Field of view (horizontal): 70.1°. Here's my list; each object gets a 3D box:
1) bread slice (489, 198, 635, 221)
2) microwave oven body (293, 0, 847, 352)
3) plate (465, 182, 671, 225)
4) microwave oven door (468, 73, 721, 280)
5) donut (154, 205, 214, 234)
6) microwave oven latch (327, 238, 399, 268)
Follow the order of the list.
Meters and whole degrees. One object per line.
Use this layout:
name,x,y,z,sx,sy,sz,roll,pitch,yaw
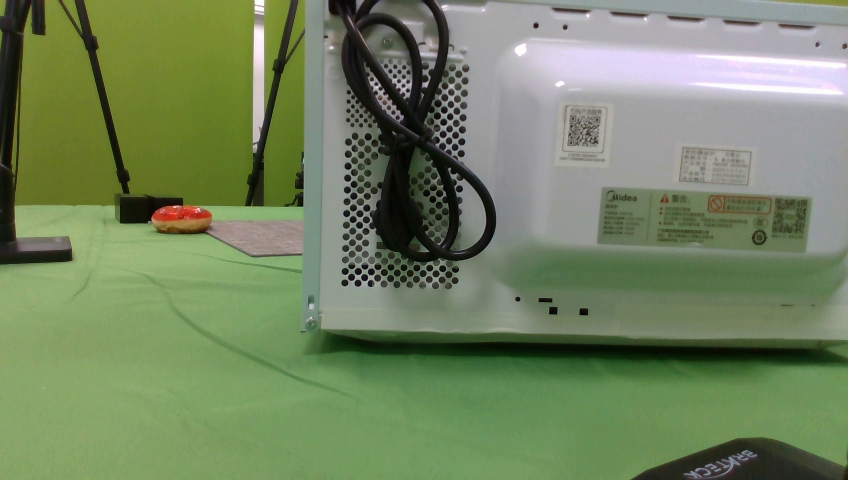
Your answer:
bread slice,0.150,-0.033,0.626,0.105,0.019,0.131,-5,9,-39
microwave oven body,0.122,-0.055,0.550,0.442,0.260,0.325,3,7,-5
plate,0.147,-0.035,0.634,0.208,0.039,0.207,-1,2,0
microwave oven door,0.208,-0.092,0.830,0.039,0.243,0.354,-5,10,-44
donut,-0.426,-0.037,1.075,0.099,0.048,0.099,2,12,0
microwave oven latch,-0.069,0.015,0.694,0.079,0.029,0.030,3,7,-3
